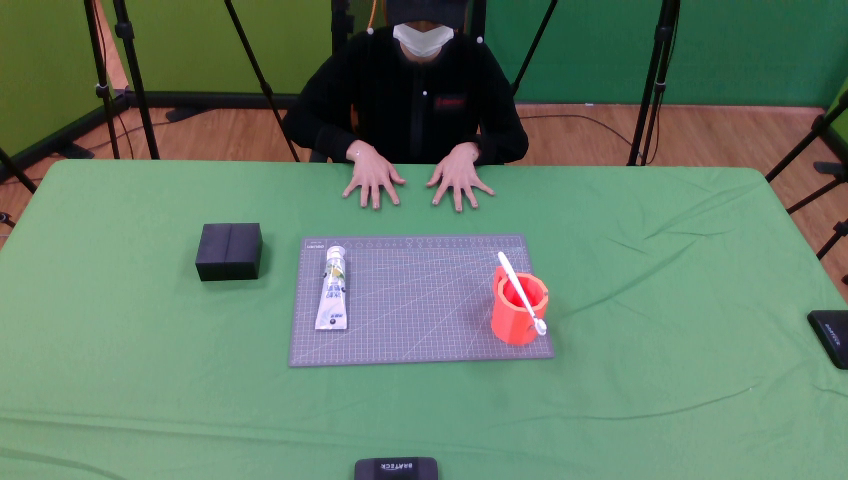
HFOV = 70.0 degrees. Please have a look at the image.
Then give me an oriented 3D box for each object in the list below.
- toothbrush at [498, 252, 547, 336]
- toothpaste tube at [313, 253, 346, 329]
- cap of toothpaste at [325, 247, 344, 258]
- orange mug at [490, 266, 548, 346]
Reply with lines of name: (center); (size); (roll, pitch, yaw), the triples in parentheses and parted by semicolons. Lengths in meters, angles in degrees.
toothbrush: (0.160, 0.083, 1.001); (0.014, 0.017, 0.180); (-14, 48, -12)
toothpaste tube: (-0.167, 0.089, 1.092); (0.055, 0.035, 0.164); (-4, 50, 0)
cap of toothpaste: (-0.169, 0.027, 1.143); (0.037, 0.037, 0.011); (-6, 46, -10)
orange mug: (0.155, 0.107, 1.051); (0.083, 0.101, 0.125); (-15, 53, -18)
